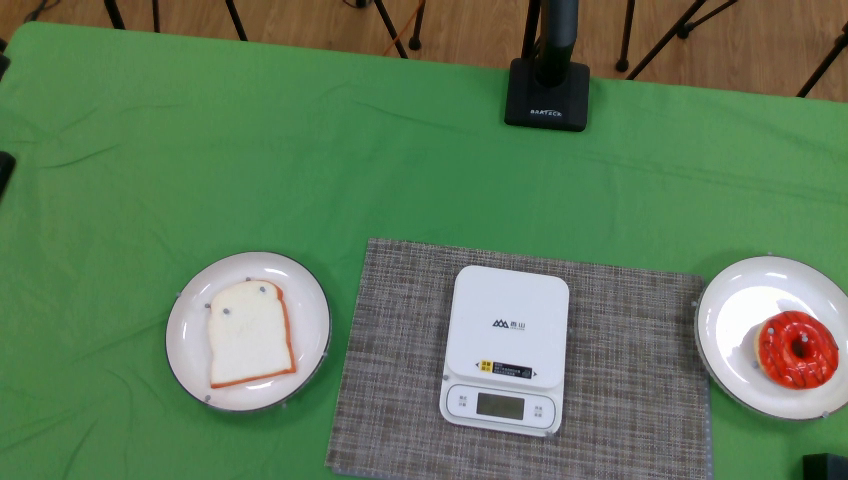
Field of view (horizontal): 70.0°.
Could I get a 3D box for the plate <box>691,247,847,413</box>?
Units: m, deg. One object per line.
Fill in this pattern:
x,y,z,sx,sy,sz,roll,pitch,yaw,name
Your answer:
0.436,0.111,0.758,0.207,0.039,0.206,0,69,2,plate

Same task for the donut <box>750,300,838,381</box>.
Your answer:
0.451,0.123,0.740,0.099,0.048,0.098,0,73,0,donut

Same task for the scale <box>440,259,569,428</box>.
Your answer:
0.103,0.126,0.762,0.148,0.032,0.199,7,70,5,scale

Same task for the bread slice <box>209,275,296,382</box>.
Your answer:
-0.227,0.109,0.780,0.105,0.019,0.130,-12,68,-3,bread slice

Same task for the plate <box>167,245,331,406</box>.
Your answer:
-0.221,0.109,0.779,0.209,0.038,0.207,-1,69,2,plate
